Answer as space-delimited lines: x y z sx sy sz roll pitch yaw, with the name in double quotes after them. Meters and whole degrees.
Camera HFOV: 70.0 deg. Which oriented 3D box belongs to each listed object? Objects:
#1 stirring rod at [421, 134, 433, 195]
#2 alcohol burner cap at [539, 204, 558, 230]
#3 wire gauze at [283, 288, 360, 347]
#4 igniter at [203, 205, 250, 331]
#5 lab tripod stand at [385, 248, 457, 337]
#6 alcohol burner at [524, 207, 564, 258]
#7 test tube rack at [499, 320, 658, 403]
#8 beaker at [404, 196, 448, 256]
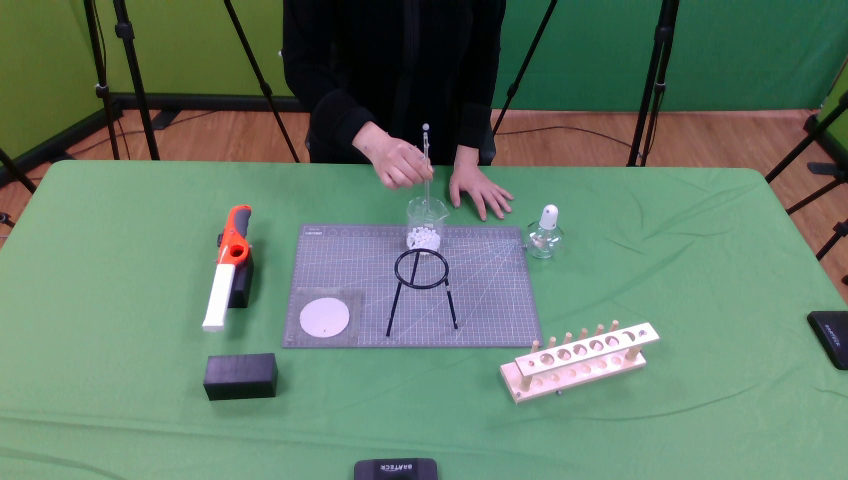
0.006 -0.122 1.016 0.014 0.177 0.006 -4 63 1 "stirring rod"
0.238 -0.045 1.148 0.034 0.048 0.033 2 42 -1 "alcohol burner cap"
-0.178 0.132 1.063 0.125 0.011 0.120 2 46 1 "wire gauze"
-0.345 0.039 1.065 0.057 0.025 0.274 2 49 -6 "igniter"
-0.010 0.087 1.032 0.148 0.132 0.147 1 45 -1 "lab tripod stand"
0.236 -0.021 1.174 0.078 0.120 0.077 1 48 -1 "alcohol burner"
0.252 0.187 0.994 0.243 0.085 0.066 -12 48 -15 "test tube rack"
0.001 -0.024 1.164 0.084 0.101 0.073 5 46 0 "beaker"
